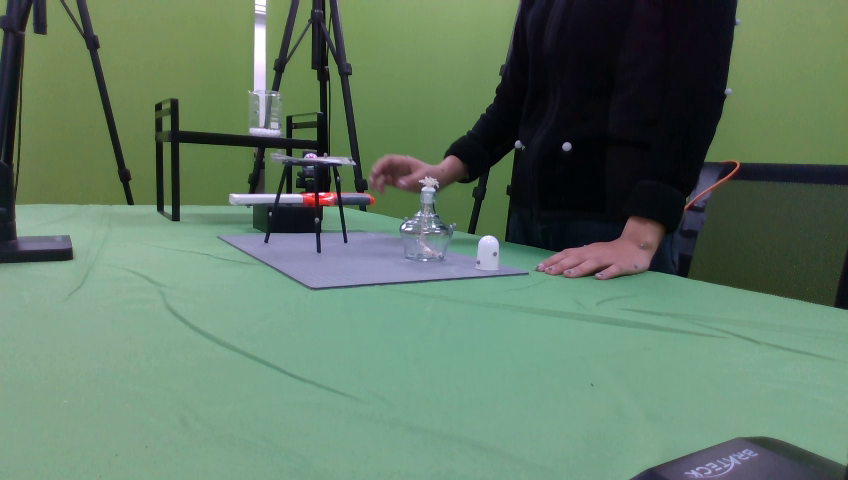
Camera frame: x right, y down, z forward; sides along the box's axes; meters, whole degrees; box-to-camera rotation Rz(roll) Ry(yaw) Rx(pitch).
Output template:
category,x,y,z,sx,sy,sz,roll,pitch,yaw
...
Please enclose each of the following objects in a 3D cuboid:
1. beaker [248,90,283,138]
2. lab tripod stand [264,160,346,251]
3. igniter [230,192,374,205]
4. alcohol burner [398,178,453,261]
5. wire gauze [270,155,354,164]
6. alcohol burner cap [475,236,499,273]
category,x,y,z,sx,sy,sz,roll,pitch,yaw
beaker,-0.354,-0.278,1.340,0.074,0.100,0.084,6,9,26
lab tripod stand,-0.177,-0.057,0.930,0.148,0.131,0.148,1,8,0
igniter,-0.228,-0.079,1.164,0.278,0.025,0.057,-2,15,-30
alcohol burner,0.004,-0.029,0.860,0.078,0.119,0.078,4,7,0
wire gauze,-0.174,-0.123,0.925,0.125,0.011,0.121,0,8,-13
alcohol burner cap,0.084,0.018,0.799,0.034,0.048,0.034,2,7,0
